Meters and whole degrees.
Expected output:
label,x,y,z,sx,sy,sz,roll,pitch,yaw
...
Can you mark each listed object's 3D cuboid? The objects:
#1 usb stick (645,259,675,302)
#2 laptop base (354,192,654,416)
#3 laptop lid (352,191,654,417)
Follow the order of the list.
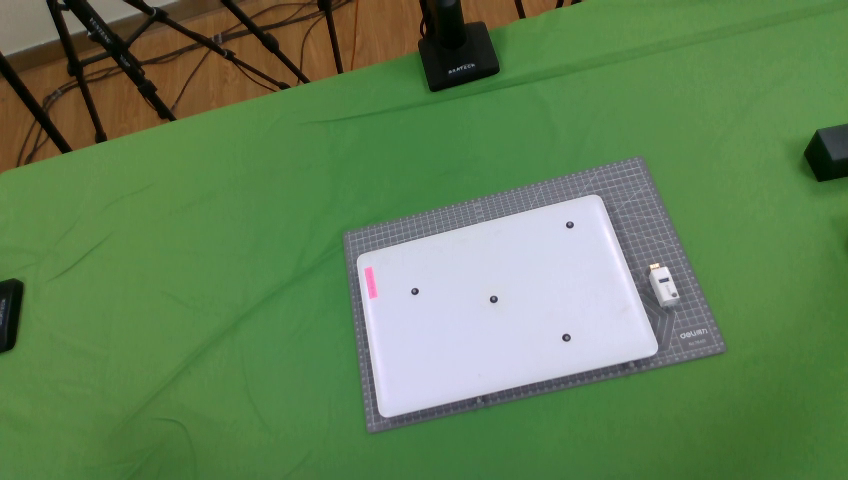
label,x,y,z,sx,sy,sz,roll,pitch,yaw
usb stick,0.296,0.047,0.766,0.021,0.027,0.058,-17,58,8
laptop base,0.090,0.079,0.801,0.354,0.023,0.233,-15,64,4
laptop lid,0.089,0.076,0.790,0.356,0.013,0.239,-14,63,5
